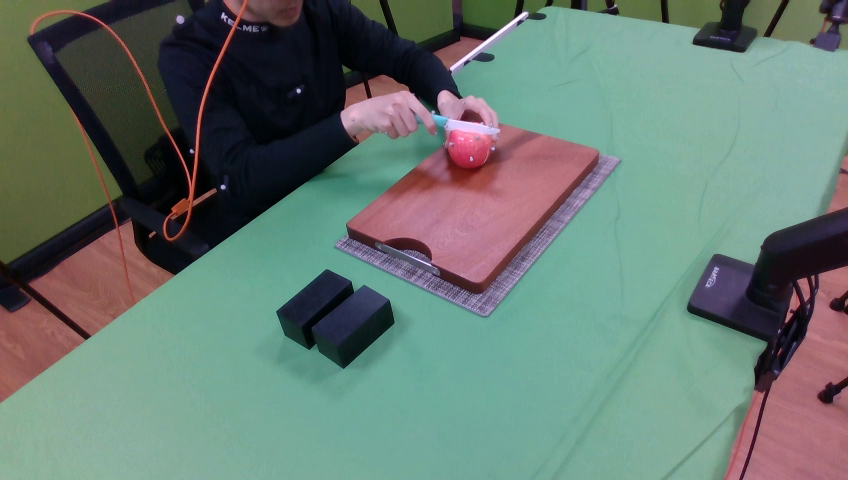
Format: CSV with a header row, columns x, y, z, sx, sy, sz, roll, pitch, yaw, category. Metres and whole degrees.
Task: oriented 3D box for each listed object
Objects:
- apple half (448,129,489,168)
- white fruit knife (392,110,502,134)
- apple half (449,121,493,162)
x,y,z,sx,sy,sz,roll,pitch,yaw,category
0.072,-0.153,1.051,0.081,0.081,0.033,12,42,22,apple half
0.037,-0.204,1.048,0.206,0.027,0.016,13,45,20,white fruit knife
0.089,-0.177,1.078,0.080,0.075,0.053,11,42,24,apple half
